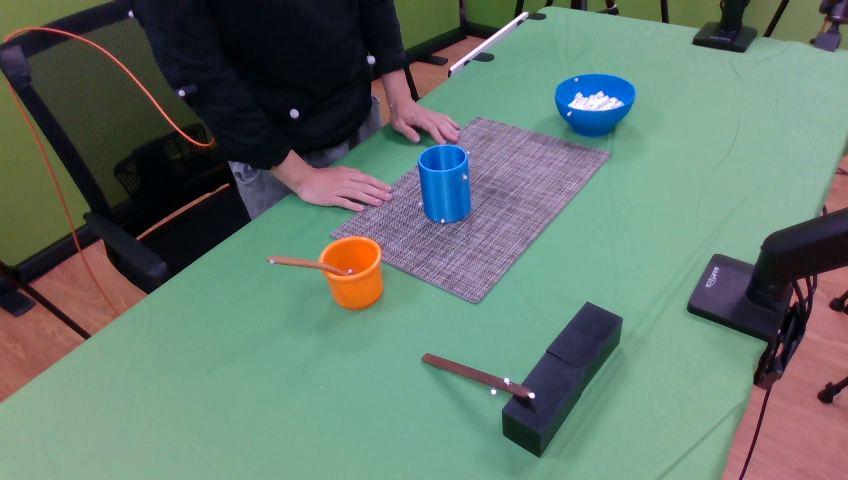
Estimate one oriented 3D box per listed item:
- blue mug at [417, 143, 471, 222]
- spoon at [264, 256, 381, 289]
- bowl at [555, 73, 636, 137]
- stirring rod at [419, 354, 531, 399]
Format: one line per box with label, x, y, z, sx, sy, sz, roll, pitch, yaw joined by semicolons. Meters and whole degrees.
blue mug;0.031;-0.104;1.014;0.082;0.106;0.115;-14;41;-7
spoon;-0.136;0.042;0.842;0.021;0.195;0.041;-56;46;13
bowl;0.328;-0.253;1.172;0.151;0.077;0.150;-4;41;4
stirring rod;0.058;0.164;0.738;0.174;0.006;0.014;8;42;45
